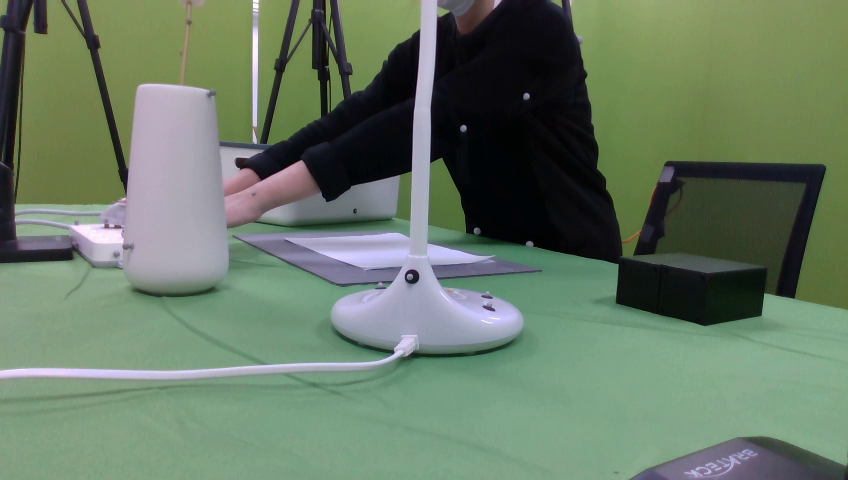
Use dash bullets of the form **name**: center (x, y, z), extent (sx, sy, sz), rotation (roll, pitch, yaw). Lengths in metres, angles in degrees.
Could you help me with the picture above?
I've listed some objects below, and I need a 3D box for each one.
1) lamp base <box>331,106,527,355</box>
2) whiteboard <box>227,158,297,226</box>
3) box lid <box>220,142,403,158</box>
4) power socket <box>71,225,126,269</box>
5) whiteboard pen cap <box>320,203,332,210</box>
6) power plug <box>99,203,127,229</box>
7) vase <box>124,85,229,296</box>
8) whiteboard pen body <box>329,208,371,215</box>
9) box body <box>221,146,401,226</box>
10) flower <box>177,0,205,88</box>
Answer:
- **lamp base**: center (0.006, -0.012, 0.478), extent (0.161, 0.180, 0.179), rotation (2, 10, 2)
- **whiteboard**: center (-0.265, -0.116, 1.372), extent (0.216, 0.143, 0.307), rotation (4, 7, 35)
- **box lid**: center (-0.252, -0.202, 1.368), extent (0.262, 0.015, 0.373), rotation (9, 9, 36)
- **power socket**: center (-0.409, 0.004, 0.792), extent (0.072, 0.032, 0.225), rotation (-2, 8, -37)
- **whiteboard pen cap**: center (-0.247, -0.084, 1.531), extent (0.033, 0.018, 0.018), rotation (9, 10, 39)
- **power plug**: center (-0.414, -0.025, 0.848), extent (0.073, 0.052, 0.035), rotation (7, 4, -27)
- **vase**: center (-0.244, -0.047, 0.598), extent (0.098, 0.200, 0.098), rotation (3, 8, 0)
- **whiteboard pen body**: center (-0.189, -0.073, 1.522), extent (0.140, 0.017, 0.017), rotation (3, 6, 37)
- **box body**: center (-0.254, -0.128, 1.379), extent (0.253, 0.160, 0.366), rotation (8, 9, 36)
- **flower**: center (-0.243, -0.130, 0.609), extent (0.044, 0.361, 0.038), rotation (-5, -12, 11)
